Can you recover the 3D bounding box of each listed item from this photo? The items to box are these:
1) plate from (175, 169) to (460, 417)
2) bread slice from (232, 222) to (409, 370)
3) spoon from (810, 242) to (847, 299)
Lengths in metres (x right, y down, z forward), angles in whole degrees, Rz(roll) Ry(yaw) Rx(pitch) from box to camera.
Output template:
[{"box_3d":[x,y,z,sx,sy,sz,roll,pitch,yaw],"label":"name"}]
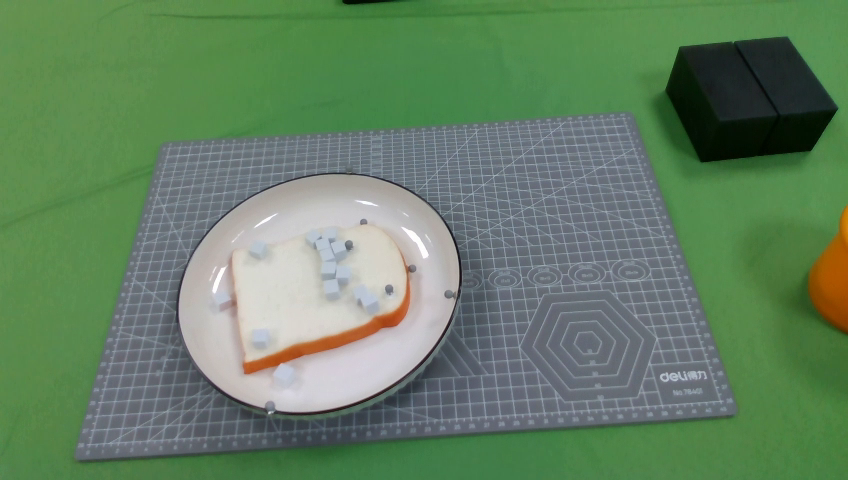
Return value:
[{"box_3d":[-0.076,0.035,0.456,0.209,0.038,0.207,-1,55,2],"label":"plate"},{"box_3d":[-0.079,0.032,0.462,0.132,0.019,0.104,-16,56,-8],"label":"bread slice"},{"box_3d":[0.356,-0.008,0.396,0.193,0.022,0.041,-29,43,33],"label":"spoon"}]
